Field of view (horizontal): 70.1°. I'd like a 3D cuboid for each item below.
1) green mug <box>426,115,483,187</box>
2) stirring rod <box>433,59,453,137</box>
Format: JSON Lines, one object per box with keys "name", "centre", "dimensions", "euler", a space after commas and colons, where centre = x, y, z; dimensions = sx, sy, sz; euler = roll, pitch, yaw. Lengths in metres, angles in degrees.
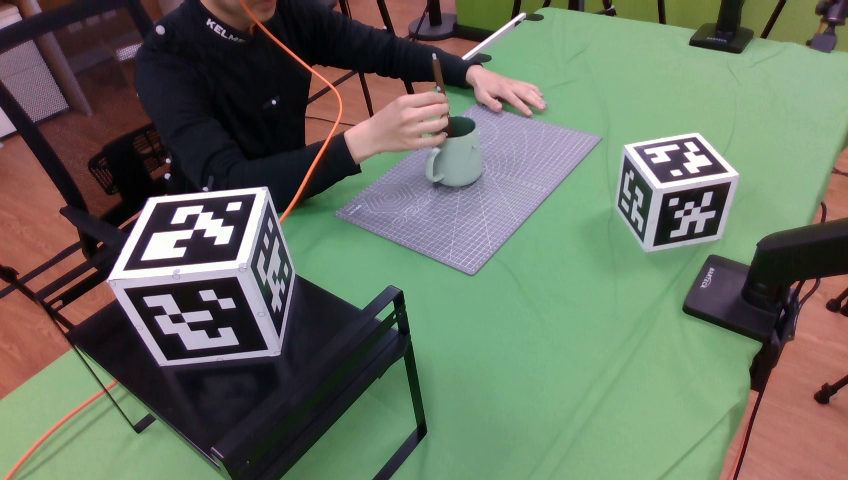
{"name": "green mug", "centre": [0.047, -0.148, 1.068], "dimensions": [0.092, 0.105, 0.125], "euler": [23, 50, 31]}
{"name": "stirring rod", "centre": [0.035, -0.220, 1.018], "dimensions": [0.005, 0.177, 0.014], "euler": [20, 48, 36]}
